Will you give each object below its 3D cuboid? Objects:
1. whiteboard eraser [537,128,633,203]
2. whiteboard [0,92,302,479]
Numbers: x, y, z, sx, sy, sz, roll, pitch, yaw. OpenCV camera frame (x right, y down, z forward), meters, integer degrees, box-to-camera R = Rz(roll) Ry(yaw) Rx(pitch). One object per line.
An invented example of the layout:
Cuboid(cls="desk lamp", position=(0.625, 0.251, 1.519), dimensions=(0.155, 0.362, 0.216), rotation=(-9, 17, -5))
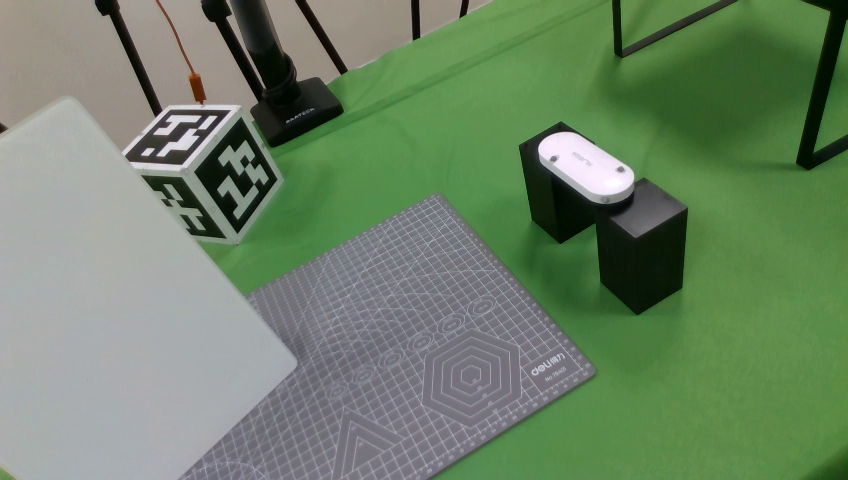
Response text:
Cuboid(cls="whiteboard eraser", position=(0.135, -0.067, 0.519), dimensions=(0.041, 0.019, 0.100), rotation=(-30, 46, -11))
Cuboid(cls="whiteboard", position=(-0.299, 0.064, 0.530), dimensions=(0.217, 0.308, 0.142), rotation=(-44, 29, -21))
